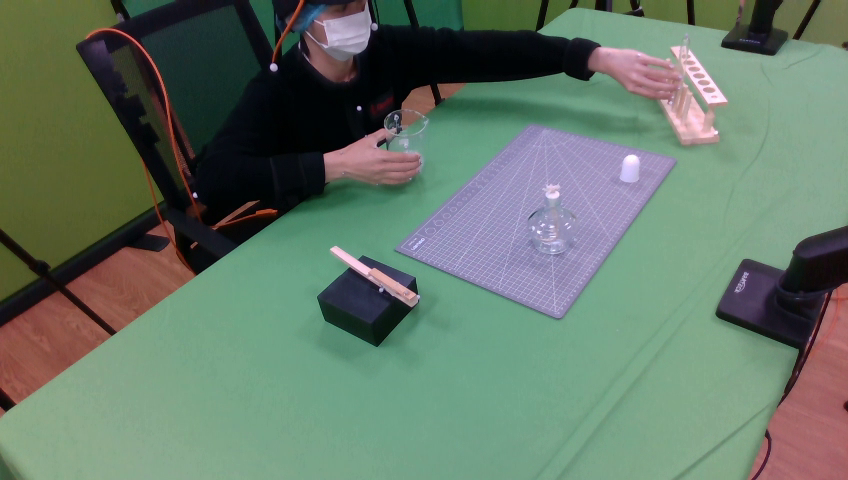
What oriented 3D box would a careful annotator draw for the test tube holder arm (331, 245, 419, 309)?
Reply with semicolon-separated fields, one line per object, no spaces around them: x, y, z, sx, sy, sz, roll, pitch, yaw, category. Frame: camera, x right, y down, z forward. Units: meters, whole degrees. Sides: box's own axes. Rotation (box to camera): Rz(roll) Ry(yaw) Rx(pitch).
-0.074;0.049;0.857;0.015;0.013;0.177;-37;48;-29;test tube holder arm

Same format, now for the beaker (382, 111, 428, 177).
-0.032;-0.171;1.090;0.084;0.100;0.073;-16;52;-14;beaker

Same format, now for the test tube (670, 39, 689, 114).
0.484;-0.308;1.146;0.017;0.151;0.017;-6;41;5;test tube

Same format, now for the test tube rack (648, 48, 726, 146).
0.509;-0.285;1.186;0.067;0.085;0.241;-4;40;6;test tube rack

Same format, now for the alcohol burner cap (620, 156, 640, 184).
0.358;-0.124;1.047;0.034;0.048;0.033;-4;40;4;alcohol burner cap

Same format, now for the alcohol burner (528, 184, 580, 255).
0.196;-0.036;0.911;0.078;0.119;0.077;-6;41;5;alcohol burner

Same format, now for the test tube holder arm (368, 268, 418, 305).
-0.043;0.063;0.827;0.015;0.010;0.087;-37;47;-29;test tube holder arm
